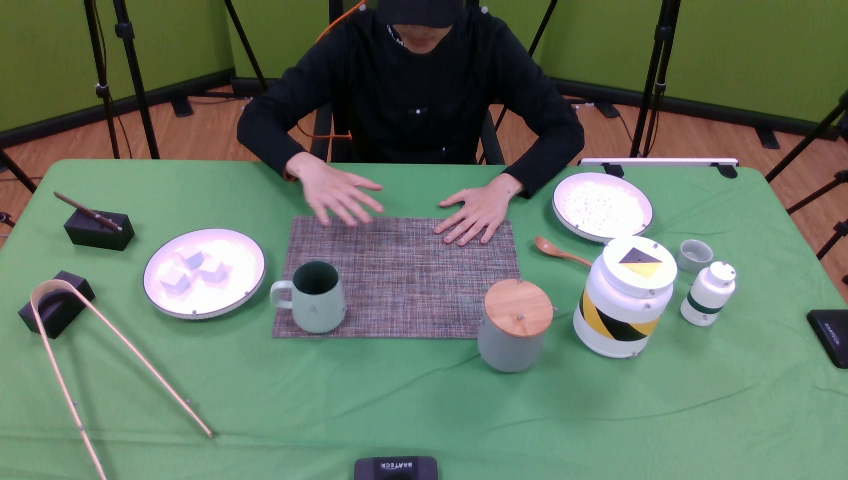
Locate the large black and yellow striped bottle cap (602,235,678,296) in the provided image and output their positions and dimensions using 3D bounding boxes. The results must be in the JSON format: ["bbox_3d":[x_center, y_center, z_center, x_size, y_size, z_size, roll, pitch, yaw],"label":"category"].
[{"bbox_3d":[0.340,0.037,0.955,0.115,0.019,0.114,2,47,-1],"label":"large black and yellow striped bottle cap"}]

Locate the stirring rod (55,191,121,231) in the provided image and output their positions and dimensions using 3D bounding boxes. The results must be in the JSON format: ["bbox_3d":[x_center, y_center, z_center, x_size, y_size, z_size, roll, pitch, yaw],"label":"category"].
[{"bbox_3d":[-0.632,-0.055,1.138,0.175,0.014,0.006,24,50,19],"label":"stirring rod"}]

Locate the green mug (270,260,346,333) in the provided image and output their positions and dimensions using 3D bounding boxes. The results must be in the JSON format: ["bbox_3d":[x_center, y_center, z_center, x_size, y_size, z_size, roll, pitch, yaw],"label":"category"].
[{"bbox_3d":[-0.198,0.097,1.026,0.125,0.105,0.092,0,46,-3],"label":"green mug"}]

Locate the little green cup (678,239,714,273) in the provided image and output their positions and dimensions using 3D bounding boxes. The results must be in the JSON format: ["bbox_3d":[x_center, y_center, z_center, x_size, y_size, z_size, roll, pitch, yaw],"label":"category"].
[{"bbox_3d":[0.531,0.033,1.189,0.061,0.039,0.061,2,46,-2],"label":"little green cup"}]

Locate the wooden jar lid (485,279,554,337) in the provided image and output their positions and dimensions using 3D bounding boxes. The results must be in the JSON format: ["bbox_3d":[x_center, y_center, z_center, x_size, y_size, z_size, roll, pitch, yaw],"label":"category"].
[{"bbox_3d":[0.147,0.108,0.940,0.108,0.021,0.107,4,47,-4],"label":"wooden jar lid"}]

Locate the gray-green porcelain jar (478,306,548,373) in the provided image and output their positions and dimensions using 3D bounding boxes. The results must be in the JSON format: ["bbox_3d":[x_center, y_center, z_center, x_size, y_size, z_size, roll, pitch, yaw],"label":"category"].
[{"bbox_3d":[0.144,0.148,0.988,0.106,0.127,0.105,2,50,-2],"label":"gray-green porcelain jar"}]

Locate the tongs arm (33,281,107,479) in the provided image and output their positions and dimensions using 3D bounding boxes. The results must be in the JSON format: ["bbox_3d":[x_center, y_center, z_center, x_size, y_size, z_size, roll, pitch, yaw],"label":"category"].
[{"bbox_3d":[-0.517,0.214,0.910,0.051,0.026,0.383,-28,63,-27],"label":"tongs arm"}]

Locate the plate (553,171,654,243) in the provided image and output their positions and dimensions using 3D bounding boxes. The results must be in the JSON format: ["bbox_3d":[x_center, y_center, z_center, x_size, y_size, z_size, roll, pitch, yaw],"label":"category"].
[{"bbox_3d":[0.373,-0.066,1.275,0.209,0.038,0.208,2,46,-2],"label":"plate"}]

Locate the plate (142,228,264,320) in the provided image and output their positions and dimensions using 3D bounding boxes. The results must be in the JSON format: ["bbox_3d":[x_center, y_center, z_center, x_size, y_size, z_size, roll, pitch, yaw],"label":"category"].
[{"bbox_3d":[-0.395,0.064,1.095,0.208,0.039,0.206,2,46,-2],"label":"plate"}]

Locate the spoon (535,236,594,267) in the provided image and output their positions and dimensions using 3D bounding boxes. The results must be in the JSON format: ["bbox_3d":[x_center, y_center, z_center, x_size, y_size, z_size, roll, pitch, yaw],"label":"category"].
[{"bbox_3d":[0.303,0.040,1.178,0.193,0.022,0.041,25,31,19],"label":"spoon"}]

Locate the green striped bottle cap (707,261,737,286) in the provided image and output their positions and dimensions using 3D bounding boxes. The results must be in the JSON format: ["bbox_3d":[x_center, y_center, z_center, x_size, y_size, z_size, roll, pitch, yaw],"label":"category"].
[{"bbox_3d":[0.510,0.057,1.036,0.044,0.020,0.044,1,45,-1],"label":"green striped bottle cap"}]

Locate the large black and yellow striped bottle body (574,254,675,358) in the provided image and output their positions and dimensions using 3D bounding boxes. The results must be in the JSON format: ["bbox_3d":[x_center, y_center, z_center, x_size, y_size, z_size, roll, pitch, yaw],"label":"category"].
[{"bbox_3d":[0.335,0.096,1.014,0.131,0.185,0.130,2,46,-2],"label":"large black and yellow striped bottle body"}]

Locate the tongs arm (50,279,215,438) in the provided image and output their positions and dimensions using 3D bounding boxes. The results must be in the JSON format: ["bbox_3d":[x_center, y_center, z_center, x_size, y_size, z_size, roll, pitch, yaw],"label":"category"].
[{"bbox_3d":[-0.459,0.178,0.949,0.386,0.028,0.028,37,60,17],"label":"tongs arm"}]

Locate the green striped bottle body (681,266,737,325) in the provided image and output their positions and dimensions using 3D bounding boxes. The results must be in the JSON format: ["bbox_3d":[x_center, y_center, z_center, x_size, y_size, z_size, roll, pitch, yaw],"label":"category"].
[{"bbox_3d":[0.507,0.093,1.074,0.063,0.120,0.063,2,46,-2],"label":"green striped bottle body"}]
